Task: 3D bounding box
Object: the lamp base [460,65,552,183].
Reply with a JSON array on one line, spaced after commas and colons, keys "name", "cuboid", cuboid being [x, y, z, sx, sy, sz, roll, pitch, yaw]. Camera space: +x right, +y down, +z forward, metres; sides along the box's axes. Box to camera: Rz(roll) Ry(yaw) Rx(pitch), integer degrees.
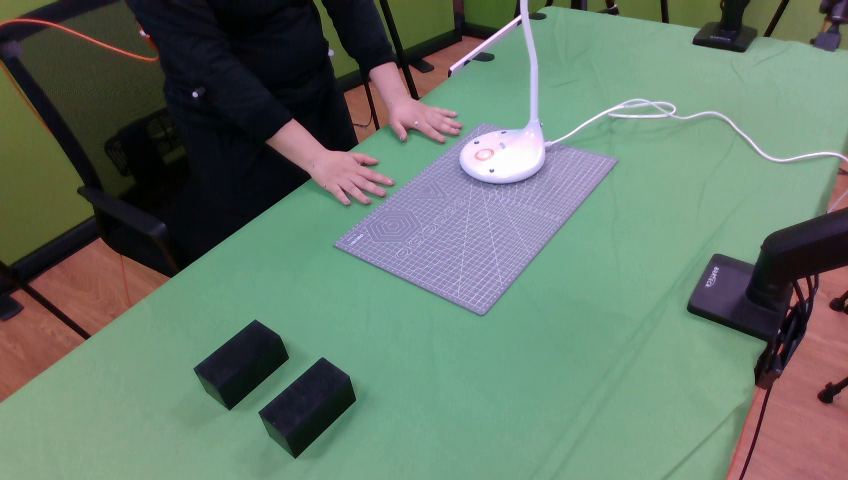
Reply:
[{"name": "lamp base", "cuboid": [0.149, -0.218, 1.078, 0.180, 0.181, 0.159, -19, 41, -17]}]
